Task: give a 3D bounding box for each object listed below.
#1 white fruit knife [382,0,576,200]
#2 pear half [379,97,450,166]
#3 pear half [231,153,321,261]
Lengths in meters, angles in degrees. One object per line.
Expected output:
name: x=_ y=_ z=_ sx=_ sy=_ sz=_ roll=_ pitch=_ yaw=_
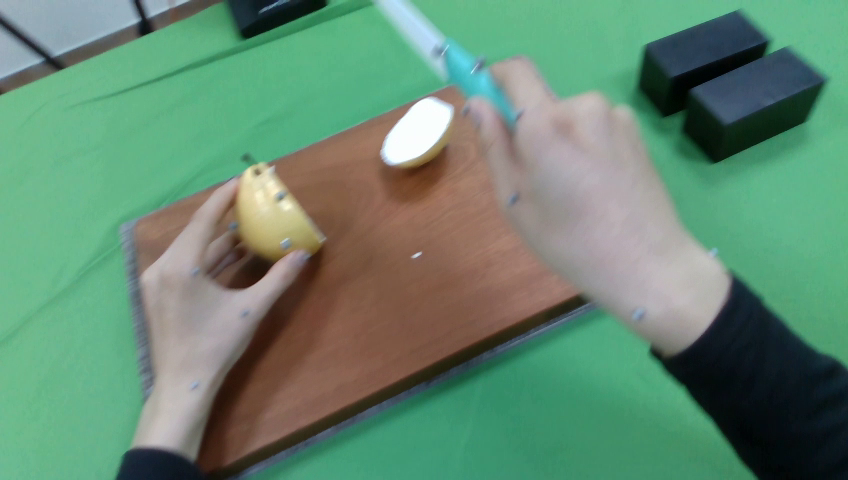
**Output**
white fruit knife: x=0.016 y=-0.104 z=0.348 sx=0.016 sy=0.027 sz=0.206 roll=-29 pitch=68 yaw=-27
pear half: x=-0.004 y=-0.095 z=0.557 sx=0.070 sy=0.031 sz=0.087 roll=-10 pitch=41 yaw=23
pear half: x=-0.131 y=-0.025 z=0.490 sx=0.056 sy=0.111 sz=0.075 roll=-39 pitch=51 yaw=-15
